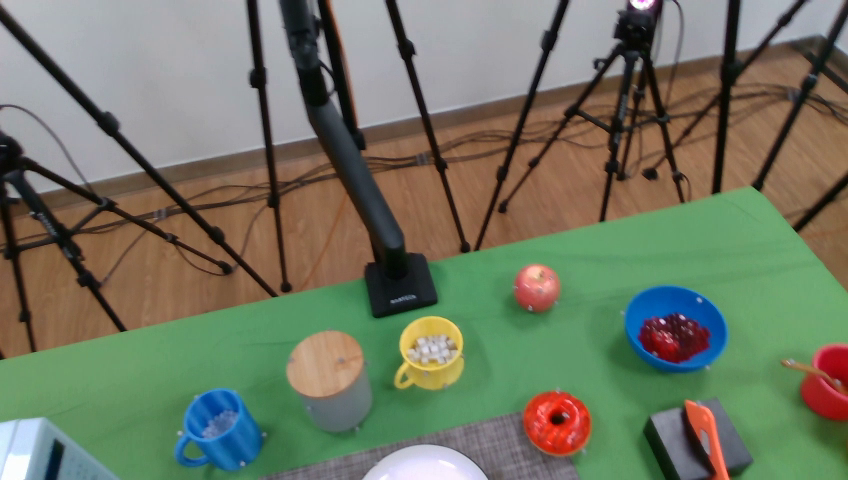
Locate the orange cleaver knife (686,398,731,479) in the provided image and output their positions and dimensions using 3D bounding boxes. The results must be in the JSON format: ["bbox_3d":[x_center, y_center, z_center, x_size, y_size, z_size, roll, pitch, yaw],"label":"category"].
[{"bbox_3d":[0.396,0.316,0.809,0.012,0.077,0.210,-11,74,-5],"label":"orange cleaver knife"}]

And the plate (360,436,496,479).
[{"bbox_3d":[0.004,0.373,0.821,0.207,0.039,0.205,-3,49,3],"label":"plate"}]

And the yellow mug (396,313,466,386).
[{"bbox_3d":[0.005,0.185,0.970,0.131,0.064,0.099,-38,56,-24],"label":"yellow mug"}]

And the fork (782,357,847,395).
[{"bbox_3d":[0.564,0.192,0.859,0.209,0.018,0.028,23,41,-31],"label":"fork"}]

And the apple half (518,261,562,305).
[{"bbox_3d":[0.206,0.071,1.044,0.080,0.075,0.053,32,54,33],"label":"apple half"}]

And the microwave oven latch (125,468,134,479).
[{"bbox_3d":[-0.430,0.364,0.848,0.030,0.030,0.078,-7,50,-2],"label":"microwave oven latch"}]

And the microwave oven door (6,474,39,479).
[{"bbox_3d":[-0.405,0.459,0.629,0.039,0.246,0.352,-10,49,-3],"label":"microwave oven door"}]

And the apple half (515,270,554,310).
[{"bbox_3d":[0.180,0.093,1.026,0.080,0.082,0.033,34,55,30],"label":"apple half"}]

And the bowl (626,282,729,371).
[{"bbox_3d":[0.390,0.150,0.957,0.151,0.077,0.150,-3,50,3],"label":"bowl"}]

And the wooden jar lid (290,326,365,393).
[{"bbox_3d":[-0.137,0.173,0.870,0.108,0.021,0.107,-3,47,4],"label":"wooden jar lid"}]

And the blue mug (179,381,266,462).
[{"bbox_3d":[-0.301,0.278,0.891,0.116,0.107,0.081,-33,54,-21],"label":"blue mug"}]

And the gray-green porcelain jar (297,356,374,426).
[{"bbox_3d":[-0.132,0.214,0.917,0.106,0.128,0.105,-2,49,3],"label":"gray-green porcelain jar"}]

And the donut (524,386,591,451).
[{"bbox_3d":[0.197,0.263,0.894,0.099,0.049,0.098,-2,50,3],"label":"donut"}]

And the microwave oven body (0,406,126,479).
[{"bbox_3d":[-0.555,0.456,0.653,0.326,0.263,0.436,-9,50,-3],"label":"microwave oven body"}]
